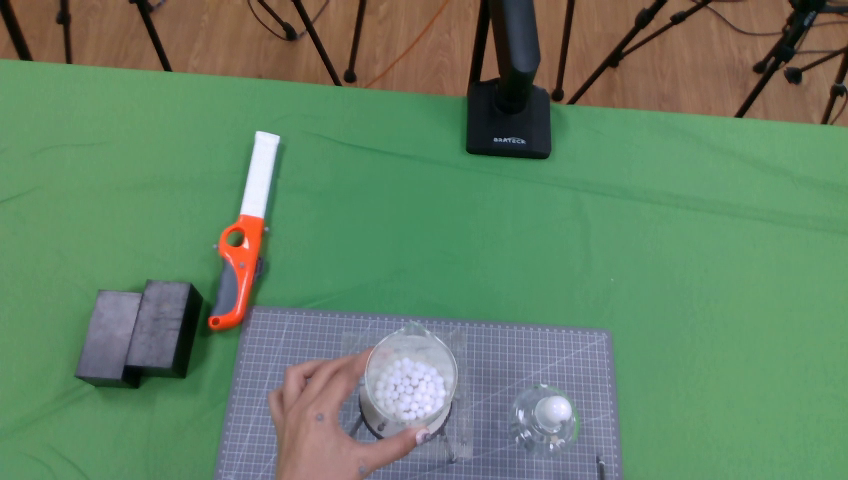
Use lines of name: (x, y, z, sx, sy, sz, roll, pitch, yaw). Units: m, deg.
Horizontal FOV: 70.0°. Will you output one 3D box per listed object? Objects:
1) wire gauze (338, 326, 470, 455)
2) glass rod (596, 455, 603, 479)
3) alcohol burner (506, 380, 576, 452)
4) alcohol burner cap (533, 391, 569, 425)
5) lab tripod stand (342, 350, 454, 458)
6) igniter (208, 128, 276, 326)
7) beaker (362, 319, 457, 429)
wire gauze: (-0.020, 0.141, 0.576, 0.125, 0.011, 0.120, 0, 65, -4)
glass rod: (0.193, 0.334, 0.647, 0.008, 0.008, 0.198, 4, 65, -2)
alcohol burner: (0.129, 0.186, 0.652, 0.078, 0.120, 0.077, 1, 63, -2)
alcohol burner cap: (0.132, 0.170, 0.618, 0.034, 0.048, 0.033, 2, 70, -4)
lab tripod stand: (-0.023, 0.171, 0.636, 0.148, 0.132, 0.147, 1, 64, -2)
igniter: (-0.227, -0.022, 0.771, 0.057, 0.025, 0.274, 11, 64, -15)
beaker: (-0.013, 0.120, 0.519, 0.074, 0.101, 0.083, 2, 67, -2)
